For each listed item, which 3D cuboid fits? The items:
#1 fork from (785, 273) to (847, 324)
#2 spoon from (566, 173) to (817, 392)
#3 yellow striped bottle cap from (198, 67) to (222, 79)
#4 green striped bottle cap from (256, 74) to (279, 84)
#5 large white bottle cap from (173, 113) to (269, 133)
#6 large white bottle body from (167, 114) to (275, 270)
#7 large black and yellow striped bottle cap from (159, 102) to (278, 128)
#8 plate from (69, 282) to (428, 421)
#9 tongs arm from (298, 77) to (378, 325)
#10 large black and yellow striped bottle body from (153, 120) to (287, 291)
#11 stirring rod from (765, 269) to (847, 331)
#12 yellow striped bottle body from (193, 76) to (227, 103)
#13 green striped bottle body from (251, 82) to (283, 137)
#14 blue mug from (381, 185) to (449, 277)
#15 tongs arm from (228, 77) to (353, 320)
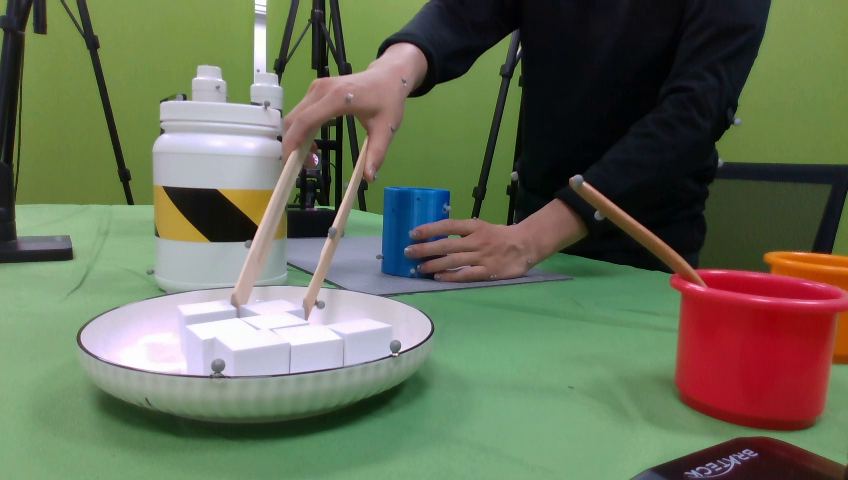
[{"bbox_3d":[0.332,0.018,0.444,0.028,0.018,0.207,-1,-36,-15],"label":"fork"},{"bbox_3d":[0.161,0.024,0.370,0.193,0.021,0.042,47,17,3],"label":"spoon"},{"bbox_3d":[-0.411,-0.320,1.163,0.044,0.018,0.044,0,6,0],"label":"yellow striped bottle cap"},{"bbox_3d":[-0.314,-0.321,1.214,0.044,0.020,0.044,3,9,0],"label":"green striped bottle cap"},{"bbox_3d":[-0.254,-0.146,0.760,0.115,0.018,0.115,1,7,0],"label":"large white bottle cap"},{"bbox_3d":[-0.257,-0.063,0.771,0.131,0.184,0.130,2,7,0],"label":"large white bottle body"},{"bbox_3d":[-0.207,-0.125,0.615,0.115,0.019,0.115,2,6,0],"label":"large black and yellow striped bottle cap"},{"bbox_3d":[-0.102,0.066,0.381,0.208,0.039,0.207,2,7,0],"label":"plate"},{"bbox_3d":[-0.081,-0.066,0.557,0.051,0.026,0.384,5,36,4],"label":"tongs arm"},{"bbox_3d":[-0.208,-0.042,0.626,0.131,0.184,0.130,2,7,0],"label":"large black and yellow striped bottle body"},{"bbox_3d":[0.352,0.020,0.484,0.176,0.006,0.014,-40,-6,13],"label":"stirring rod"},{"bbox_3d":[-0.414,-0.268,1.169,0.063,0.120,0.063,2,7,0],"label":"yellow striped bottle body"},{"bbox_3d":[-0.317,-0.270,1.220,0.063,0.119,0.063,2,7,0],"label":"green striped bottle body"},{"bbox_3d":[-0.018,-0.016,0.764,0.083,0.106,0.116,-1,8,-25],"label":"blue mug"},{"bbox_3d":[-0.111,-0.068,0.557,0.028,0.028,0.387,1,36,4],"label":"tongs arm"}]
